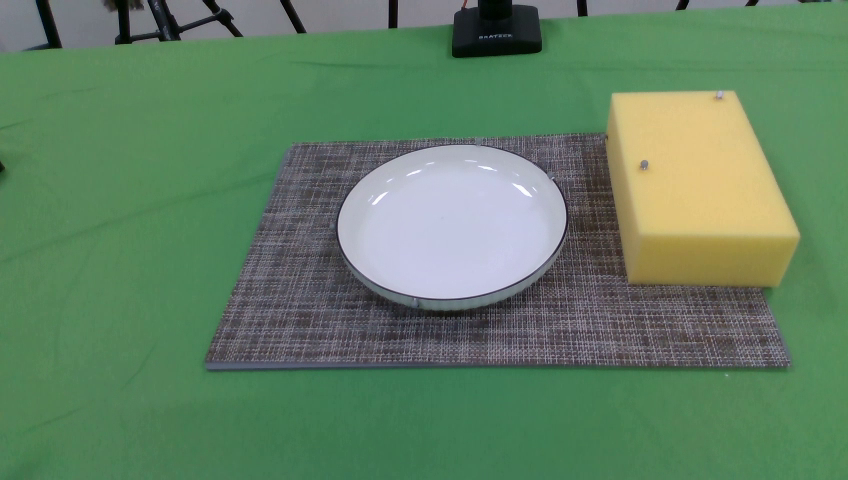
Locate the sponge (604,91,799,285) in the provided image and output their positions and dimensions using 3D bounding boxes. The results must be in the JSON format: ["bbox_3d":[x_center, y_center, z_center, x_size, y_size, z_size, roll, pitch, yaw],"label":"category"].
[{"bbox_3d":[0.236,-0.055,0.549,0.118,0.061,0.205,0,45,8],"label":"sponge"}]

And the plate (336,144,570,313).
[{"bbox_3d":[0.026,-0.012,0.550,0.207,0.039,0.205,-4,44,4],"label":"plate"}]
